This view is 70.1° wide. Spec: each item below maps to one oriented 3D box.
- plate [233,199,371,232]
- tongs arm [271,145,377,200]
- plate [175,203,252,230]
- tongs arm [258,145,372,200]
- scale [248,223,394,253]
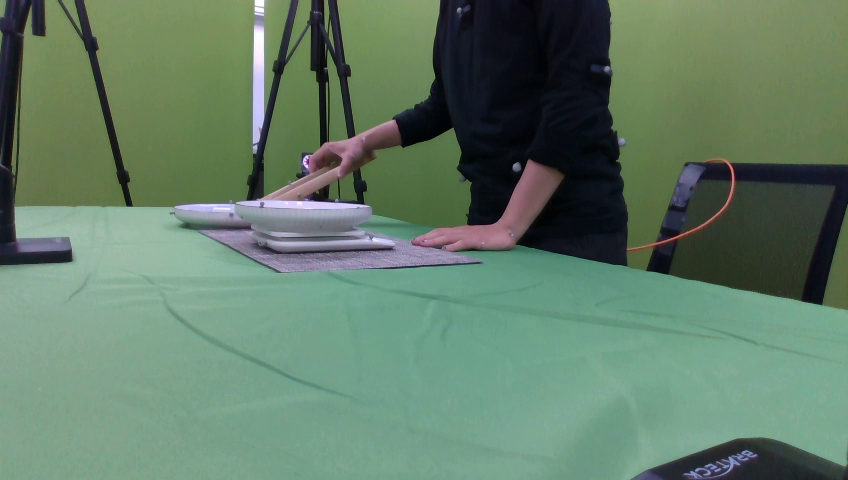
[{"bbox_3d":[-0.188,-0.039,0.939,0.209,0.038,0.209,2,7,0],"label":"plate"},{"bbox_3d":[-0.204,-0.145,1.327,0.028,0.028,0.388,-11,18,34],"label":"tongs arm"},{"bbox_3d":[-0.381,-0.047,1.199,0.208,0.039,0.207,3,7,0],"label":"plate"},{"bbox_3d":[-0.232,-0.142,1.345,0.050,0.026,0.386,-8,19,32],"label":"tongs arm"},{"bbox_3d":[-0.162,-0.006,0.954,0.202,0.031,0.148,-2,8,-32],"label":"scale"}]
